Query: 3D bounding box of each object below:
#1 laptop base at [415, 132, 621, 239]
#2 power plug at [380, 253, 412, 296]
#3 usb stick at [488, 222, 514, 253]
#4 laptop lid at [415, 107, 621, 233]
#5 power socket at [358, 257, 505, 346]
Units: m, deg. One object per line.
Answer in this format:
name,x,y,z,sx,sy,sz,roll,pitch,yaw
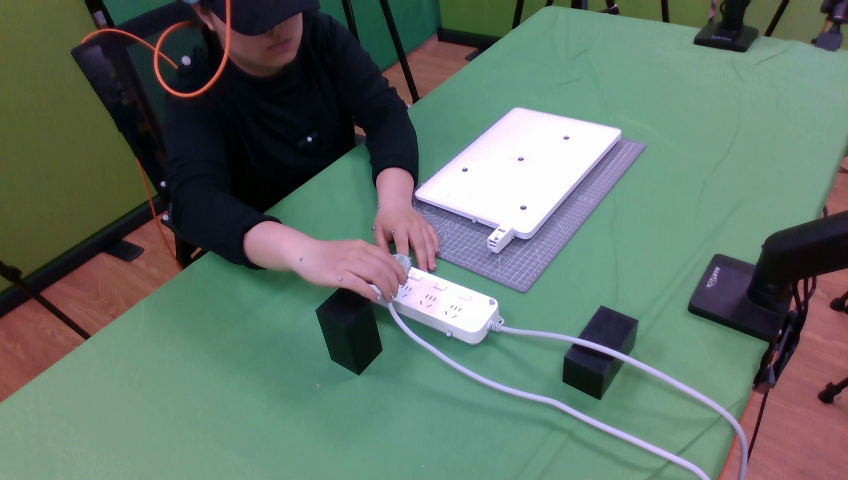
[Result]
laptop base,0.179,-0.134,1.101,0.233,0.023,0.355,20,47,33
power plug,-0.044,0.050,0.825,0.035,0.053,0.072,17,66,31
usb stick,0.124,-0.008,0.944,0.021,0.027,0.059,25,47,31
laptop lid,0.176,-0.144,1.094,0.239,0.013,0.358,23,48,33
power socket,0.004,0.083,0.862,0.225,0.033,0.072,20,48,28
